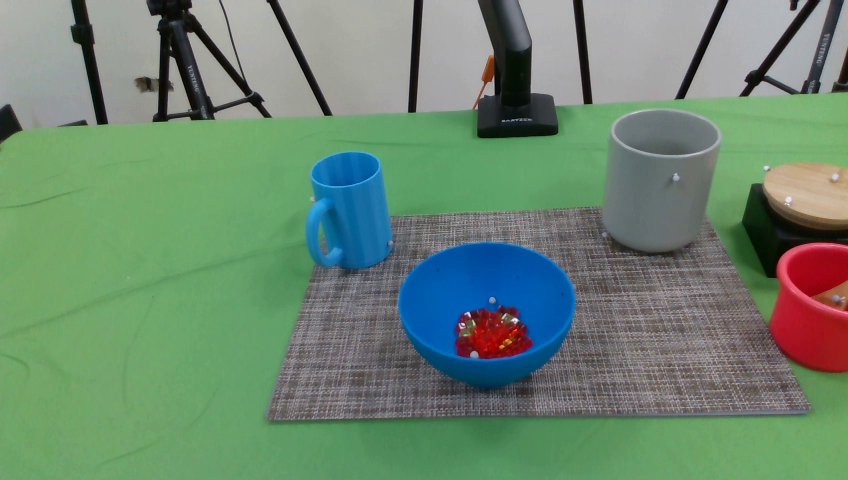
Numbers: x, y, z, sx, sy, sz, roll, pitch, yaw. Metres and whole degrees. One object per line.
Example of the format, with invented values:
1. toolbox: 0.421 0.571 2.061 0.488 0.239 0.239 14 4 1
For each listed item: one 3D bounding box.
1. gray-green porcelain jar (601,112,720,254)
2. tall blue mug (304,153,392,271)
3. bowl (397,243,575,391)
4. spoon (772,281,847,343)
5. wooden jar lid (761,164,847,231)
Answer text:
1. gray-green porcelain jar: 0.245 -0.057 0.645 0.106 0.127 0.105 -4 37 3
2. tall blue mug: -0.081 -0.021 0.658 0.078 0.109 0.106 -1 37 5
3. bowl: 0.055 0.078 0.533 0.151 0.077 0.150 -4 37 3
4. spoon: 0.382 0.025 0.508 0.022 0.194 0.041 34 24 -23
5. wooden jar lid: 0.401 -0.042 0.616 0.108 0.021 0.107 -5 37 4
